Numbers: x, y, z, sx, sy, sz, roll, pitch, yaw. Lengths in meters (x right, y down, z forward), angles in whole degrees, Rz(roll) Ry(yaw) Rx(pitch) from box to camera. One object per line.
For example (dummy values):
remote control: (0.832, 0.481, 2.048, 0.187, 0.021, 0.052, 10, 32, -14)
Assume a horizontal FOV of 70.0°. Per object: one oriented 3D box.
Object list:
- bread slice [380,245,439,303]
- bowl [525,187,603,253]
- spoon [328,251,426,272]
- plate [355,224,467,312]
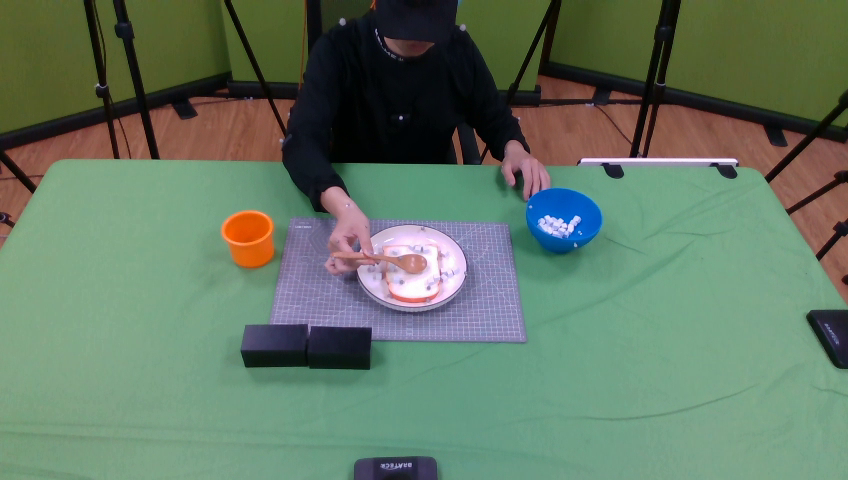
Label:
bread slice: (-0.022, 0.061, 1.126, 0.107, 0.018, 0.133, -3, 45, -8)
bowl: (0.271, -0.028, 1.206, 0.151, 0.077, 0.150, 2, 46, -2)
spoon: (-0.080, 0.032, 1.070, 0.194, 0.021, 0.041, 10, 52, -35)
plate: (-0.024, 0.055, 1.128, 0.209, 0.038, 0.208, 3, 46, -3)
